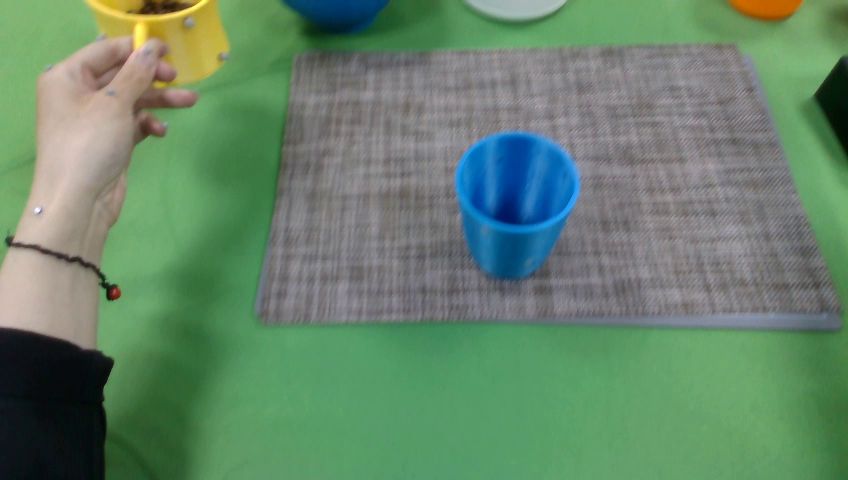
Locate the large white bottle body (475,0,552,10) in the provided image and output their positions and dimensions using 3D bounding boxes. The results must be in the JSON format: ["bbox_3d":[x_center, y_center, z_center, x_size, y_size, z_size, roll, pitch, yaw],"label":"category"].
[{"bbox_3d":[0.094,-0.338,0.587,0.130,0.186,0.129,0,60,1],"label":"large white bottle body"}]

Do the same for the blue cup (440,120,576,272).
[{"bbox_3d":[0.063,-0.024,0.453,0.092,0.101,0.092,-1,61,3],"label":"blue cup"}]

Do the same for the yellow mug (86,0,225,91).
[{"bbox_3d":[-0.212,-0.173,0.473,0.100,0.064,0.129,-1,57,-11],"label":"yellow mug"}]

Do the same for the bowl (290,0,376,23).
[{"bbox_3d":[-0.090,-0.278,0.619,0.151,0.077,0.150,0,60,1],"label":"bowl"}]
